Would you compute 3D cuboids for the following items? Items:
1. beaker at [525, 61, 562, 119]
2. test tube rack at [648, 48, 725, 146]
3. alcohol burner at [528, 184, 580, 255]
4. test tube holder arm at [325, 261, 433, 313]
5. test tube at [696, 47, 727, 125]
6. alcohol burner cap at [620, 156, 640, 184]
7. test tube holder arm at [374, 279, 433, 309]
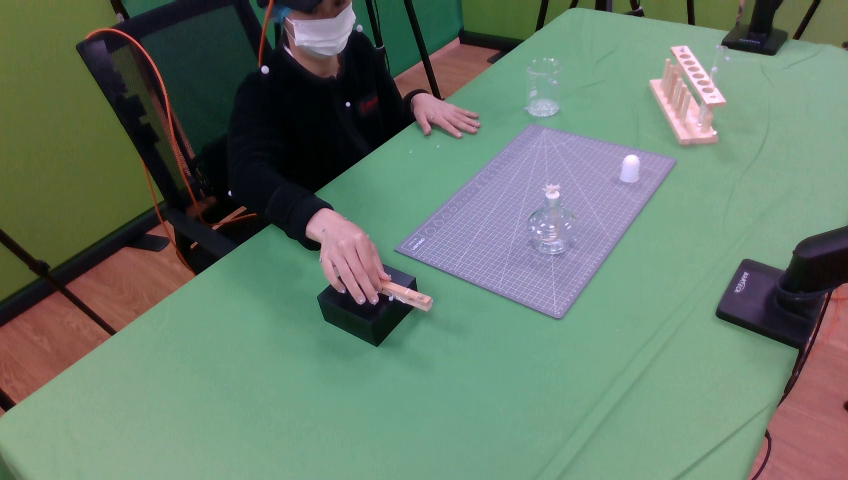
[{"bbox_3d":[0.248,-0.308,1.246,0.073,0.101,0.084,29,52,36],"label":"beaker"},{"bbox_3d":[0.508,-0.285,1.186,0.067,0.085,0.241,-4,40,6],"label":"test tube rack"},{"bbox_3d":[0.196,-0.035,0.911,0.078,0.119,0.077,-6,41,5],"label":"alcohol burner"},{"bbox_3d":[-0.066,0.063,0.837,0.177,0.013,0.015,19,43,26],"label":"test tube holder arm"},{"bbox_3d":[0.519,-0.276,1.094,0.017,0.151,0.017,-1,42,2],"label":"test tube"},{"bbox_3d":[0.358,-0.124,1.047,0.034,0.048,0.033,-4,40,4],"label":"alcohol burner cap"},{"bbox_3d":[-0.028,0.072,0.813,0.087,0.010,0.015,18,43,28],"label":"test tube holder arm"}]
